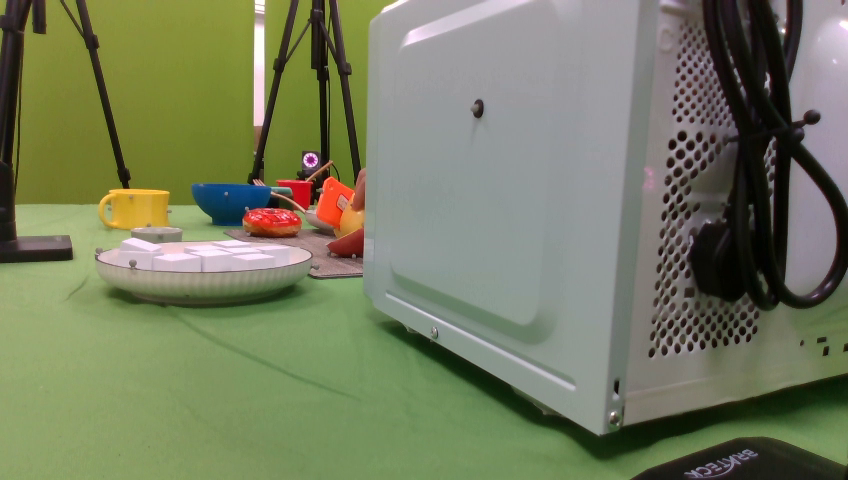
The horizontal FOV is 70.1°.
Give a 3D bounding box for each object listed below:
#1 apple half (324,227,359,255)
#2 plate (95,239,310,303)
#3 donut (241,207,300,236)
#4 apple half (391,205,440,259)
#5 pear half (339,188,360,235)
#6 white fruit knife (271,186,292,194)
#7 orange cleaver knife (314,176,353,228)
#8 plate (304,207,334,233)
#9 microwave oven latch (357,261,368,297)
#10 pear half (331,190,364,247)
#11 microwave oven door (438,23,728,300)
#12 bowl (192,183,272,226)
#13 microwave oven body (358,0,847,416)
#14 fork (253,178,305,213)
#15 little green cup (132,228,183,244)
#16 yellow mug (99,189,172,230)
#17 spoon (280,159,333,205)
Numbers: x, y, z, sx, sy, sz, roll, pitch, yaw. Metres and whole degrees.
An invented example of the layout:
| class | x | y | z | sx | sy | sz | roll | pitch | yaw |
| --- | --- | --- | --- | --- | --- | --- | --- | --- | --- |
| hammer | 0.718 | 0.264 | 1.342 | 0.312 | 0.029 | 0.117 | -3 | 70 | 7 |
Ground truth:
| class | x | y | z | sx | sy | sz | roll | pitch | yaw |
| --- | --- | --- | --- | --- | --- | --- | --- | --- | --- |
| apple half | -0.095 | 0.002 | 0.847 | 0.081 | 0.033 | 0.081 | -20 | 0 | 0 |
| plate | -0.224 | 0.031 | 0.629 | 0.208 | 0.039 | 0.207 | 2 | 7 | 0 |
| donut | -0.263 | -0.031 | 1.039 | 0.099 | 0.048 | 0.099 | 4 | 10 | 0 |
| apple half | -0.005 | -0.009 | 0.837 | 0.053 | 0.074 | 0.081 | 10 | 6 | 23 |
| pear half | -0.088 | -0.043 | 0.921 | 0.056 | 0.110 | 0.076 | 9 | 14 | 27 |
| white fruit knife | -0.399 | -0.111 | 1.368 | 0.208 | 0.016 | 0.027 | -4 | -20 | -29 |
| orange cleaver knife | -0.100 | -0.049 | 0.956 | 0.012 | 0.077 | 0.212 | 4 | -3 | 32 |
| plate | -0.123 | -0.037 | 1.149 | 0.209 | 0.038 | 0.209 | 2 | 7 | 0 |
| microwave oven latch | -0.019 | 0.033 | 0.531 | 0.079 | 0.029 | 0.030 | -1 | 7 | -27 |
| pear half | -0.125 | -0.033 | 0.942 | 0.031 | 0.088 | 0.070 | -4 | 9 | 25 |
| microwave oven door | 0.181 | -0.072 | 0.621 | 0.358 | 0.243 | 0.039 | -2 | 8 | -29 |
| bowl | -0.381 | -0.070 | 1.202 | 0.151 | 0.077 | 0.151 | 3 | 7 | 0 |
| microwave oven body | 0.211 | -0.047 | 0.474 | 0.444 | 0.260 | 0.324 | -1 | 7 | -28 |
| fork | -0.294 | -0.084 | 1.293 | 0.206 | 0.018 | 0.028 | 29 | 12 | 26 |
| little green cup | -0.342 | 0.006 | 0.779 | 0.061 | 0.038 | 0.061 | 2 | 8 | 0 |
| yellow mug | -0.518 | -0.055 | 1.080 | 0.099 | 0.064 | 0.131 | 6 | 9 | 26 |
| spoon | -0.316 | -0.159 | 1.639 | 0.194 | 0.022 | 0.041 | -49 | 32 | -20 |
